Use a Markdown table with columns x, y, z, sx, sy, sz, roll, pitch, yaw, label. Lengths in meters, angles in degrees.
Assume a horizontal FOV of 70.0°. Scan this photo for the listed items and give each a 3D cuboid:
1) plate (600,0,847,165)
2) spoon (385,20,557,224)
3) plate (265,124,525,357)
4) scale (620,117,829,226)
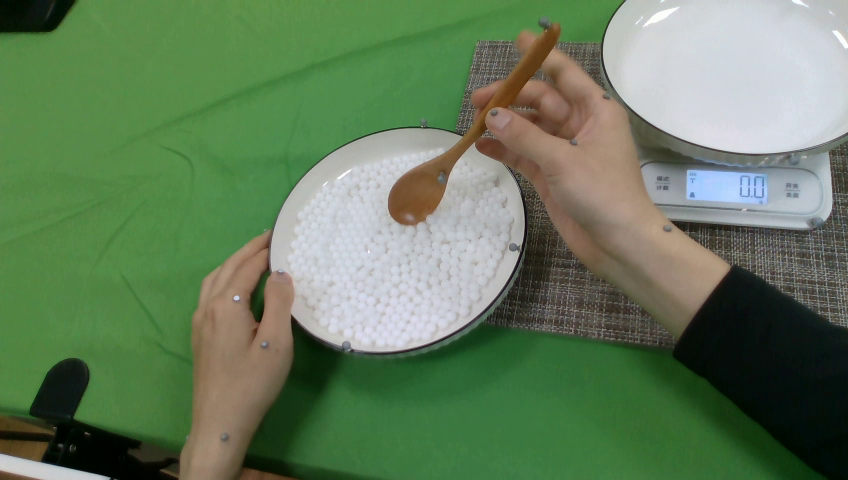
| x | y | z | sx | sy | sz | roll | pitch | yaw | label |
| --- | --- | --- | --- | --- | --- | --- | --- | --- | --- |
| 0.245 | -0.139 | 0.478 | 0.207 | 0.039 | 0.206 | -4 | 60 | 8 | plate |
| 0.030 | -0.075 | 0.432 | 0.042 | 0.194 | 0.021 | 27 | 43 | -20 | spoon |
| -0.023 | -0.002 | 0.486 | 0.209 | 0.038 | 0.207 | -5 | 60 | 9 | plate |
| 0.243 | -0.106 | 0.497 | 0.148 | 0.032 | 0.199 | 5 | 62 | 14 | scale |
